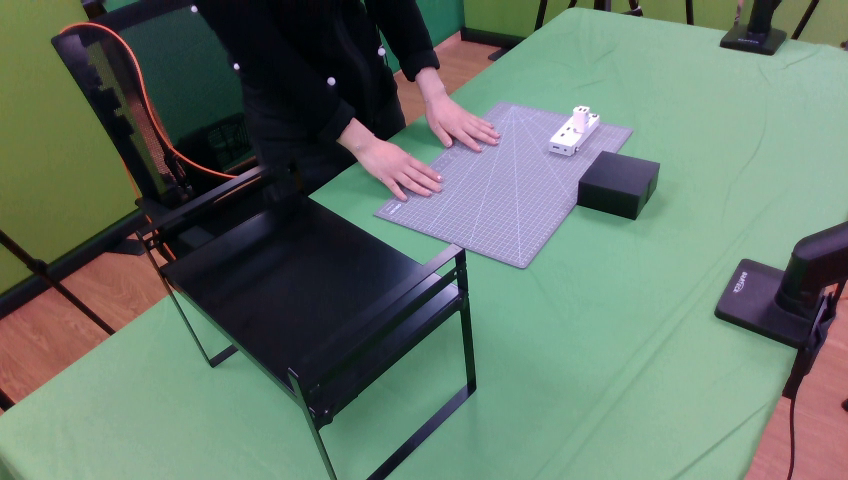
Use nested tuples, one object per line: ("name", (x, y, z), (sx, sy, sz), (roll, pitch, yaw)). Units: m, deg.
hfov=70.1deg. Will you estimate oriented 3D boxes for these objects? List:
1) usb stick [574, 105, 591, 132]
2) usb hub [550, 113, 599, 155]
("usb stick", (0.298, -0.222, 1.138), (0.027, 0.059, 0.021), (21, 56, 31))
("usb hub", (0.291, -0.207, 1.166), (0.049, 0.025, 0.125), (21, 49, 29))
